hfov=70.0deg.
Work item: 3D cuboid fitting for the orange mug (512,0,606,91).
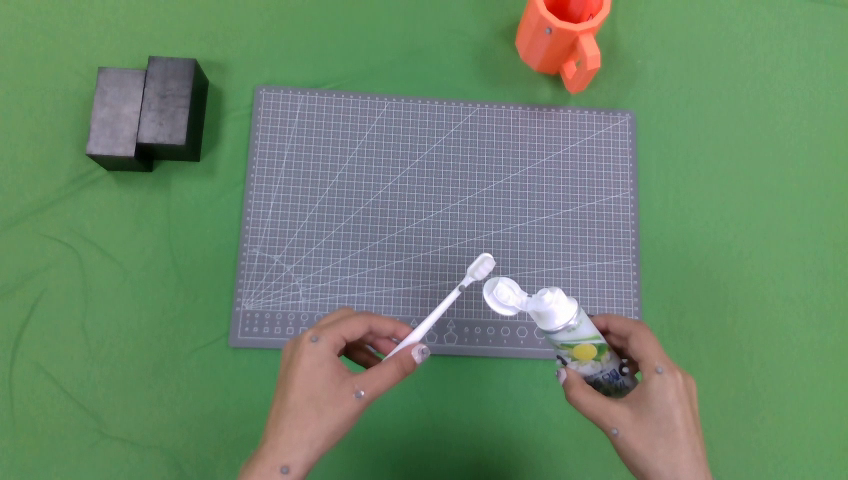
[{"bbox_3d":[0.160,-0.241,0.696,0.083,0.101,0.125,-18,76,-7],"label":"orange mug"}]

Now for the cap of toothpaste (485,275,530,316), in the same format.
[{"bbox_3d":[0.064,0.041,0.465,0.037,0.011,0.037,12,53,-16],"label":"cap of toothpaste"}]

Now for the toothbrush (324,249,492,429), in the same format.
[{"bbox_3d":[-0.012,0.076,0.457,0.014,0.016,0.182,43,90,-16],"label":"toothbrush"}]

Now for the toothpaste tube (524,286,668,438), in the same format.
[{"bbox_3d":[0.132,0.098,0.481,0.055,0.034,0.166,-31,112,22],"label":"toothpaste tube"}]
